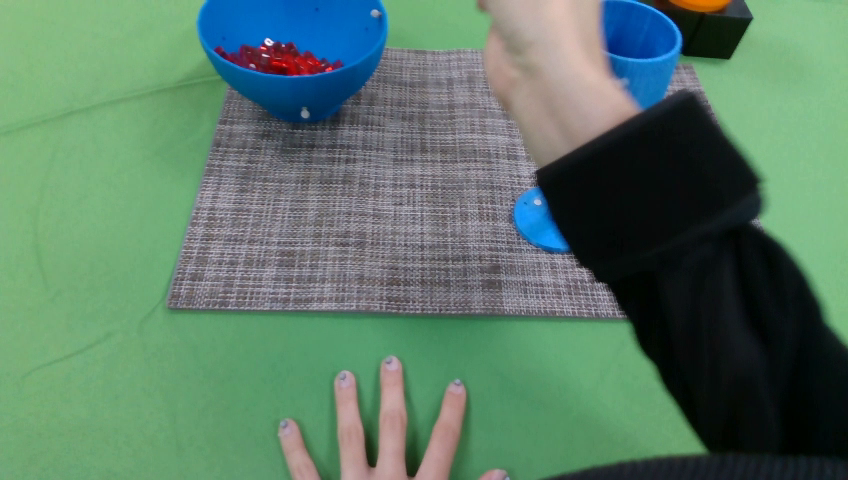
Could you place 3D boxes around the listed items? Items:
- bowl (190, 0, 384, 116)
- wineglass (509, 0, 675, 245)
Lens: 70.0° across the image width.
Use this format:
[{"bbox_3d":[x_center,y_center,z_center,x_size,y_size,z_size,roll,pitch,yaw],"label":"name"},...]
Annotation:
[{"bbox_3d":[-0.110,-0.159,0.512,0.151,0.077,0.150,3,54,-3],"label":"bowl"},{"bbox_3d":[0.105,-0.073,0.411,0.074,0.173,0.073,3,54,-3],"label":"wineglass"}]
